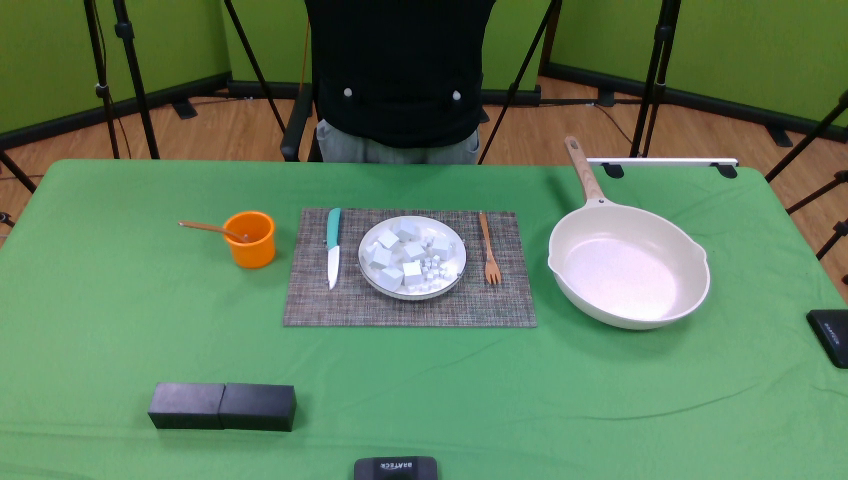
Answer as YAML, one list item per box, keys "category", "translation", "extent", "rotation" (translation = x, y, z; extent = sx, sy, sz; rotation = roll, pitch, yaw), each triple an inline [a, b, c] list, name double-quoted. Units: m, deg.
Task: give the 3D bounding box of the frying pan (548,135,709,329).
- category: "frying pan"
  translation: [0.360, -0.033, 1.200]
  extent: [0.307, 0.103, 0.484]
  rotation: [-4, 55, -9]

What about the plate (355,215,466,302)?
- category: "plate"
  translation: [-0.025, 0.038, 1.144]
  extent: [0.208, 0.039, 0.206]
  rotation: [2, 46, -2]

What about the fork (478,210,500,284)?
- category: "fork"
  translation: [0.124, 0.010, 1.194]
  extent: [0.028, 0.019, 0.206]
  rotation: [-8, 48, 3]

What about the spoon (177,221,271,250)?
- category: "spoon"
  translation: [-0.357, -0.012, 1.093]
  extent: [0.021, 0.195, 0.041]
  rotation: [-53, 53, 10]

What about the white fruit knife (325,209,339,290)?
- category: "white fruit knife"
  translation: [-0.179, 0.014, 1.170]
  extent: [0.027, 0.016, 0.206]
  rotation: [-4, 47, -2]
